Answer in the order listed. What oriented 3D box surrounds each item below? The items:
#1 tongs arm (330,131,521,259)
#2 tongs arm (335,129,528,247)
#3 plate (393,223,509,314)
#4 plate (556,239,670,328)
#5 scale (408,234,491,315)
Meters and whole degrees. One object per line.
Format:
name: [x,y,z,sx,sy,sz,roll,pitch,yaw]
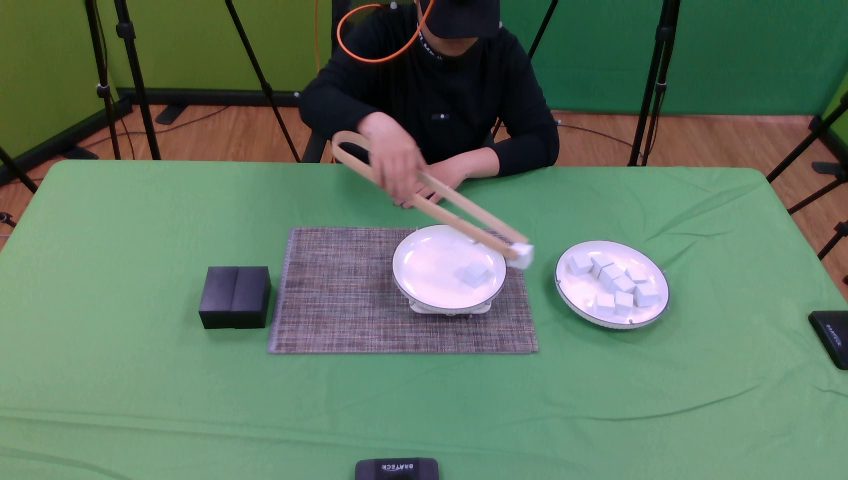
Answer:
tongs arm: [-0.001,-0.079,1.041,0.384,0.026,0.050,28,50,6]
tongs arm: [0.011,-0.093,1.056,0.387,0.028,0.028,32,54,8]
plate: [0.048,0.053,1.092,0.208,0.039,0.206,1,46,-1]
plate: [0.347,0.083,1.130,0.209,0.038,0.208,2,47,-2]
scale: [0.045,0.055,1.135,0.149,0.032,0.199,1,46,-3]
